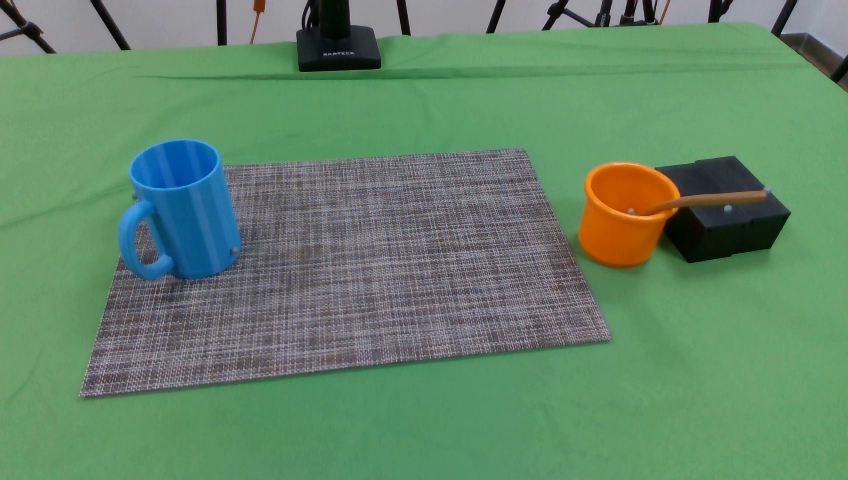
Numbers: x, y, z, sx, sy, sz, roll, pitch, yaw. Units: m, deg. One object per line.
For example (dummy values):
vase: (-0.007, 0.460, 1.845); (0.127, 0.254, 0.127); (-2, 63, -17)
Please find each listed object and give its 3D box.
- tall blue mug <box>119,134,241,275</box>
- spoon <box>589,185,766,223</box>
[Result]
tall blue mug: (-0.220, -0.022, 0.556); (0.078, 0.109, 0.106); (2, 44, -2)
spoon: (0.228, -0.035, 0.570); (0.042, 0.193, 0.021); (-22, 93, -25)
